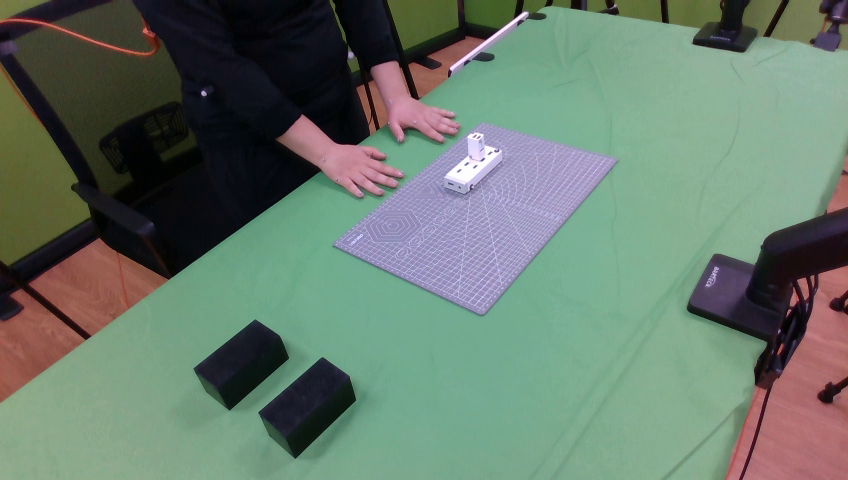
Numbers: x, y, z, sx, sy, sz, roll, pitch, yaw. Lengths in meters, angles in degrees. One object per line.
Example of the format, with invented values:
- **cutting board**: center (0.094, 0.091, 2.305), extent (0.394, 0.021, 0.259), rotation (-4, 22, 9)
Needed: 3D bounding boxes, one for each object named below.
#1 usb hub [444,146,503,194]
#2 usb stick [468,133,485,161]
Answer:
- **usb hub**: center (0.091, -0.129, 1.102), extent (0.049, 0.025, 0.125), rotation (23, 49, 30)
- **usb stick**: center (0.095, -0.162, 1.096), extent (0.027, 0.059, 0.021), rotation (21, 48, 27)
